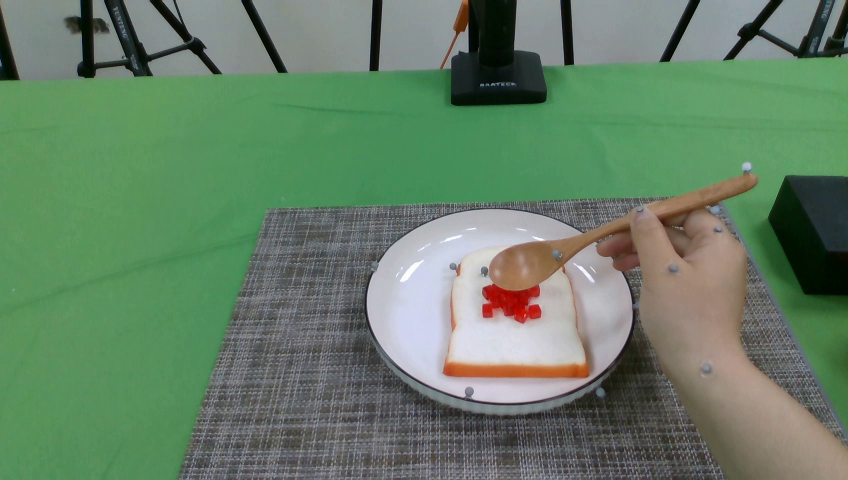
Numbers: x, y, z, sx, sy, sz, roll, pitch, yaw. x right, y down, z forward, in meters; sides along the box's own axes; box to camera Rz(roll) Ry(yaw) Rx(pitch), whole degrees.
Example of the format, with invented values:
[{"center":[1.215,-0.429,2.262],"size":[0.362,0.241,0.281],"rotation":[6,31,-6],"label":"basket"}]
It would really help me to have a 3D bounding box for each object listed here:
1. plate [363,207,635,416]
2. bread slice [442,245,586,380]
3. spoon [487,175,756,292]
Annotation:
[{"center":[0.056,0.052,0.483],"size":[0.209,0.038,0.207],"rotation":[-2,43,2],"label":"plate"},{"center":[0.069,0.053,0.485],"size":[0.105,0.019,0.130],"rotation":[1,43,3],"label":"bread slice"},{"center":[0.130,-0.005,0.427],"size":[0.193,0.022,0.041],"rotation":[-24,50,31],"label":"spoon"}]
